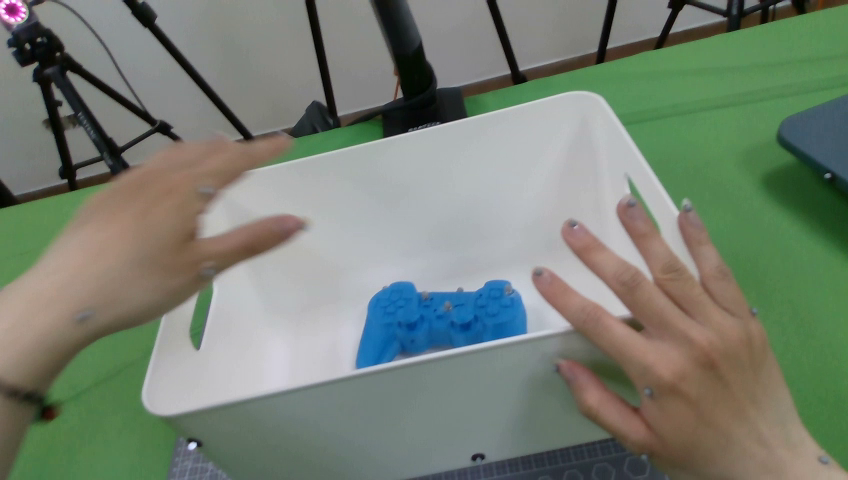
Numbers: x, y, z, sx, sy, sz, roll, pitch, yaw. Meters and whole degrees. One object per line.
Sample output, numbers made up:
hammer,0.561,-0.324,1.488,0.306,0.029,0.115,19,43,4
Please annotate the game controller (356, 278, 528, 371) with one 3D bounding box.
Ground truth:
game controller,0.018,0.074,0.539,0.154,0.052,0.096,-1,40,17

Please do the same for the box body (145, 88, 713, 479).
box body,0.005,0.042,0.499,0.364,0.162,0.251,-13,42,5

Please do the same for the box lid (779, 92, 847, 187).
box lid,0.515,-0.051,0.486,0.263,0.015,0.367,-21,42,-4
